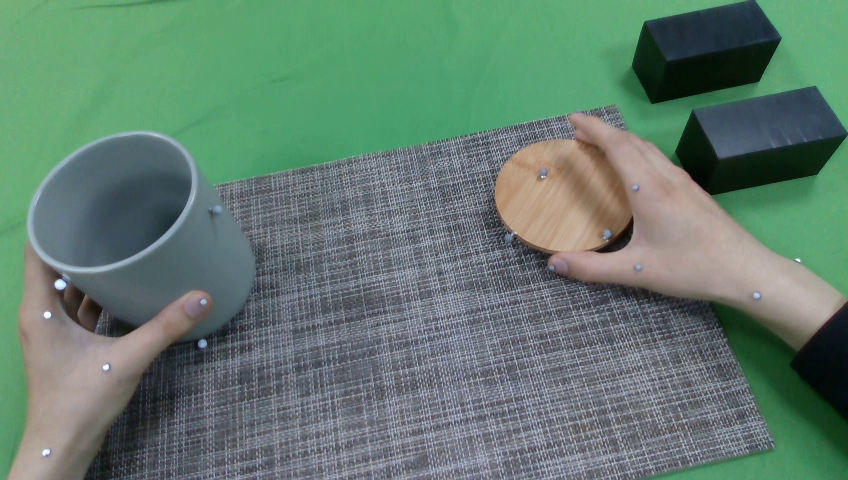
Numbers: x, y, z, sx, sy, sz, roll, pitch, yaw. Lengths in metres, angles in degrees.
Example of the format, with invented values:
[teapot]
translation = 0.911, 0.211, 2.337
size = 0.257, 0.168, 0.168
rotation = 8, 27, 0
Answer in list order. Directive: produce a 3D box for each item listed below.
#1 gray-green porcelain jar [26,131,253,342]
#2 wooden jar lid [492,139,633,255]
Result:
[gray-green porcelain jar]
translation = -0.184, 0.006, 0.420
size = 0.106, 0.127, 0.105
rotation = -2, 60, 4
[wooden jar lid]
translation = 0.108, -0.033, 0.479
size = 0.108, 0.021, 0.107
rotation = -2, 61, 4
